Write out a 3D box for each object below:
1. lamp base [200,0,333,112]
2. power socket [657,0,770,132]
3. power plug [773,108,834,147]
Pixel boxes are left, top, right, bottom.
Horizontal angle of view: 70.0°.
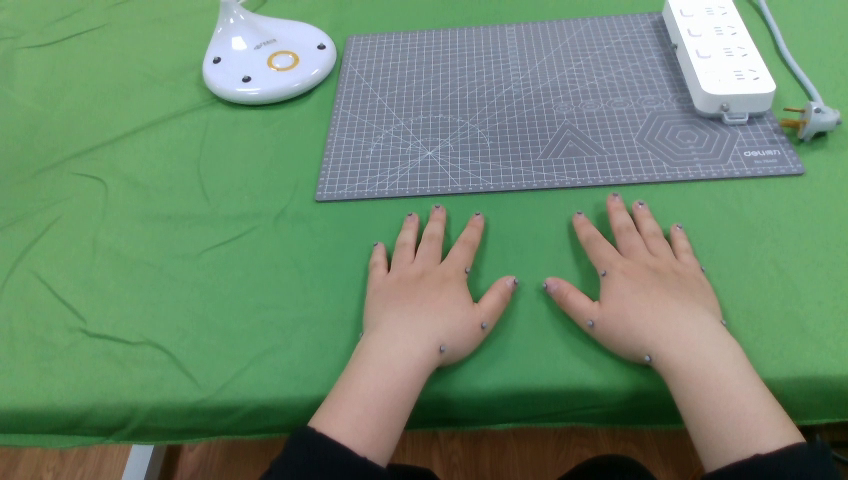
[{"bbox_3d":[-0.207,-0.262,0.683,0.177,0.182,0.160,28,57,32],"label":"lamp base"},{"bbox_3d":[0.307,-0.199,0.657,0.072,0.033,0.224,0,48,6],"label":"power socket"},{"bbox_3d":[0.360,-0.109,0.584,0.052,0.035,0.072,11,15,12],"label":"power plug"}]
